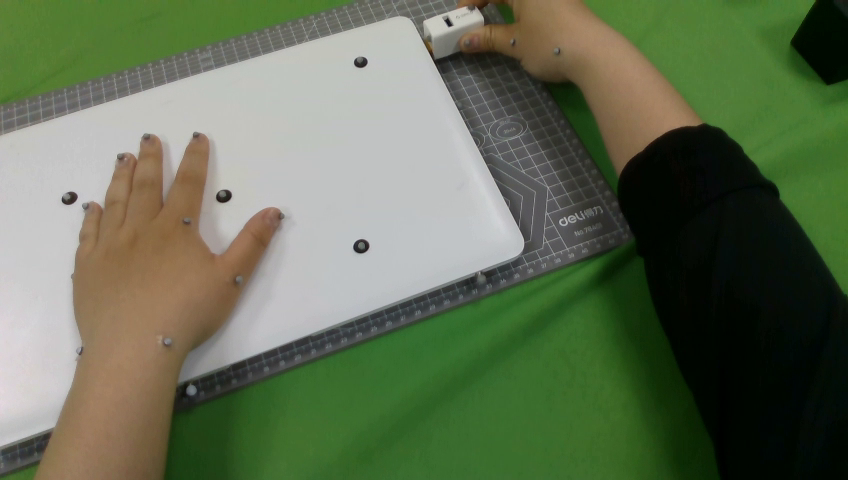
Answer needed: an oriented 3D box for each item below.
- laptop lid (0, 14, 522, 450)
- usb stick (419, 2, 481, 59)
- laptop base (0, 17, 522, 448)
[{"bbox_3d":[-0.137,-0.030,0.418,0.357,0.013,0.239,-18,66,-7],"label":"laptop lid"},{"bbox_3d":[0.014,-0.163,0.479,0.059,0.027,0.021,-24,56,-3],"label":"usb stick"},{"bbox_3d":[-0.137,-0.027,0.427,0.355,0.023,0.233,-20,67,-8],"label":"laptop base"}]
